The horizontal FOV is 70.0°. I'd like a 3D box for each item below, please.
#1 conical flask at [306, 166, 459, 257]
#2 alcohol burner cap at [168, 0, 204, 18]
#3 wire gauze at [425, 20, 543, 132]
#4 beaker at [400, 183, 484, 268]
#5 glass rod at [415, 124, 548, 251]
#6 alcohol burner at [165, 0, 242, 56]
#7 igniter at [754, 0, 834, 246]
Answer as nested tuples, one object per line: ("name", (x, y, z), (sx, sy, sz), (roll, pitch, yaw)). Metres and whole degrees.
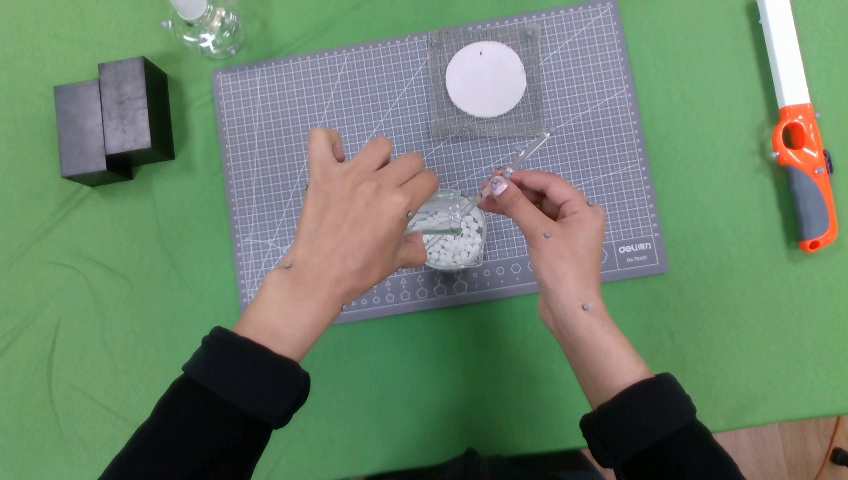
("conical flask", (-0.032, -0.024, 0.503), (0.122, 0.075, 0.075), (-1, 84, 0))
("alcohol burner cap", (-0.240, -0.244, 0.591), (0.034, 0.048, 0.033), (-1, 78, 4))
("wire gauze", (0.064, -0.175, 0.650), (0.125, 0.011, 0.121), (-1, 85, 1))
("beaker", (0.023, -0.008, 0.592), (0.084, 0.100, 0.074), (44, 90, 7))
("glass rod", (0.040, -0.037, 0.512), (0.008, 0.200, 0.008), (16, 55, -24))
("alcohol burner", (-0.237, -0.238, 0.627), (0.078, 0.119, 0.077), (0, 86, 6))
("igniter", (0.375, -0.132, 0.617), (0.057, 0.025, 0.276), (-7, 84, -6))
